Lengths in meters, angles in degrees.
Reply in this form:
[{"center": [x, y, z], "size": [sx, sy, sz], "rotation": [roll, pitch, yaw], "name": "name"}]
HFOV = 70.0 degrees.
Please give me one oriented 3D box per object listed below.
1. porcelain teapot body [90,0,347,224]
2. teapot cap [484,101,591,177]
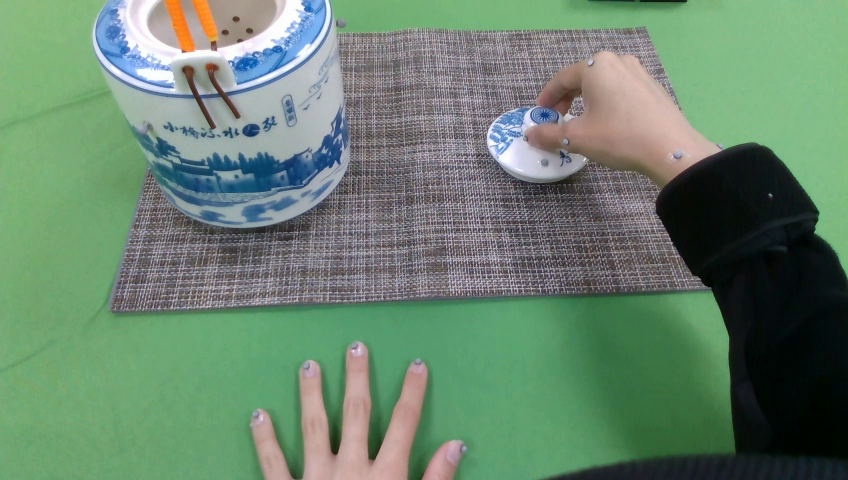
[{"center": [-0.134, -0.146, 0.407], "size": [0.145, 0.227, 0.203], "rotation": [-7, 55, -6], "name": "porcelain teapot body"}, {"center": [0.090, -0.086, 0.481], "size": [0.085, 0.044, 0.084], "rotation": [-1, 51, 1], "name": "teapot cap"}]
